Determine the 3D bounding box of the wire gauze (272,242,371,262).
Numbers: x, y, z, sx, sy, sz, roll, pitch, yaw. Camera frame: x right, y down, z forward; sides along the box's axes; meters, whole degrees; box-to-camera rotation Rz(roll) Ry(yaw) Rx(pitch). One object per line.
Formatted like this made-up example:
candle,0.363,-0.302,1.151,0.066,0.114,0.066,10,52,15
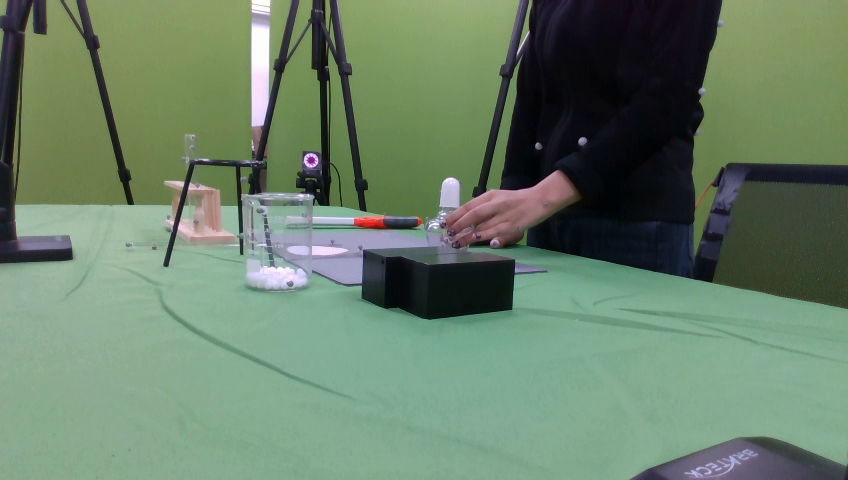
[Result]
wire gauze,-0.155,0.013,0.877,0.122,0.011,0.124,-3,10,-29

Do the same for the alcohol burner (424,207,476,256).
alcohol burner,0.039,-0.036,0.912,0.078,0.119,0.078,0,7,0

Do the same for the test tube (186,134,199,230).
test tube,-0.360,-0.089,0.946,0.017,0.150,0.017,0,10,0

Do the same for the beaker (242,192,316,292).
beaker,-0.157,0.000,0.642,0.084,0.100,0.074,4,7,19

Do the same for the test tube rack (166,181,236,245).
test tube rack,-0.383,-0.051,1.024,0.067,0.085,0.241,-2,9,-31

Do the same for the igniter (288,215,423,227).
igniter,-0.136,-0.040,1.240,0.278,0.025,0.057,0,-2,-22

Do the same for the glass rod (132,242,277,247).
glass rod,-0.316,0.007,0.884,0.201,0.008,0.008,0,7,-27

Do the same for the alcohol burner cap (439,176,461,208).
alcohol burner cap,0.040,-0.072,0.909,0.034,0.048,0.034,4,4,0

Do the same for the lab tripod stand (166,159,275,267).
lab tripod stand,-0.249,-0.036,0.764,0.148,0.131,0.148,2,9,0
